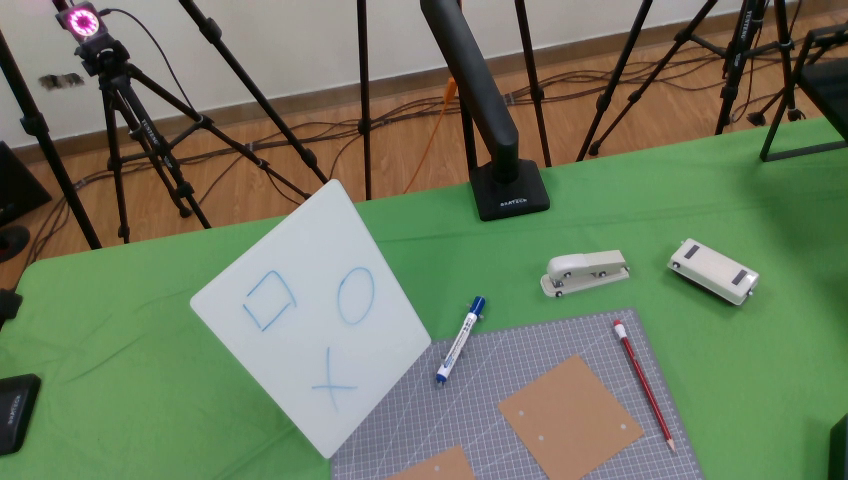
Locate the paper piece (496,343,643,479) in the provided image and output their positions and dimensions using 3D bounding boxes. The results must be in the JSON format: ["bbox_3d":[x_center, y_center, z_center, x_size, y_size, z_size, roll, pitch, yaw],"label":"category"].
[{"bbox_3d":[0.185,0.220,0.786,0.136,0.009,0.136,-30,55,-10],"label":"paper piece"}]

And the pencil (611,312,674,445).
[{"bbox_3d":[0.288,0.178,0.801,0.012,0.012,0.192,-13,53,-1],"label":"pencil"}]

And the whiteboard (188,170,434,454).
[{"bbox_3d":[-0.158,0.084,0.796,0.142,0.308,0.217,18,55,46],"label":"whiteboard"}]

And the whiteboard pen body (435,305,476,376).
[{"bbox_3d":[0.051,0.133,0.870,0.017,0.017,0.140,17,56,21],"label":"whiteboard pen body"}]

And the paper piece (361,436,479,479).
[{"bbox_3d":[0.008,0.322,0.731,0.135,0.004,0.134,-21,52,-9],"label":"paper piece"}]

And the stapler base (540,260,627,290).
[{"bbox_3d":[0.240,0.040,0.913,0.131,0.024,0.041,-14,54,-4],"label":"stapler base"}]

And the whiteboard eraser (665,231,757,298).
[{"bbox_3d":[0.414,0.036,0.877,0.111,0.042,0.055,34,65,30],"label":"whiteboard eraser"}]

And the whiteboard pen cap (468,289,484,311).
[{"bbox_3d":[0.077,0.090,0.899,0.018,0.018,0.033,15,56,20],"label":"whiteboard pen cap"}]

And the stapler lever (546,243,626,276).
[{"bbox_3d":[0.239,0.025,0.895,0.118,0.040,0.026,-14,54,-3],"label":"stapler lever"}]
